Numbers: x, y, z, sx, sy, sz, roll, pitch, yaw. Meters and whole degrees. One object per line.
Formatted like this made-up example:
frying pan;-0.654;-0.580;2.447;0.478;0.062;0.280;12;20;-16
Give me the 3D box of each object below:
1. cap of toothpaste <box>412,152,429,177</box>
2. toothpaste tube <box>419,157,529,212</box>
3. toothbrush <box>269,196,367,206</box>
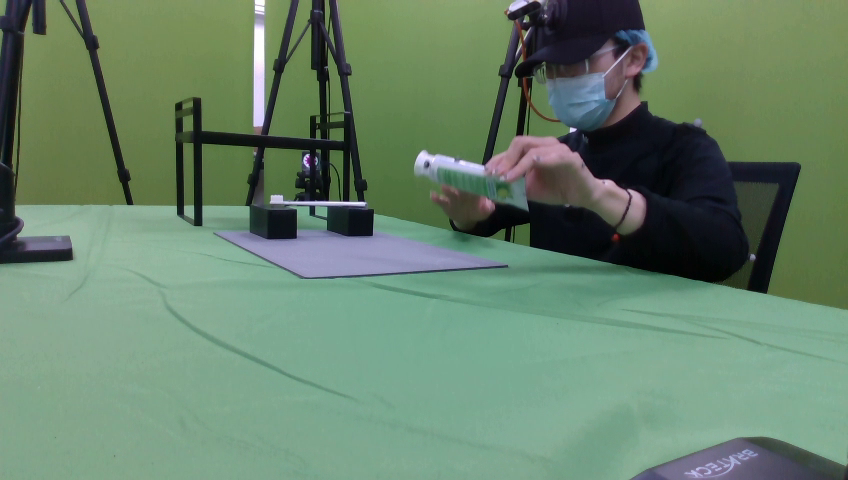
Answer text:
cap of toothpaste;-0.003;-0.102;0.822;0.011;0.037;0.037;22;15;21
toothpaste tube;0.061;-0.078;0.776;0.164;0.034;0.055;21;-28;32
toothbrush;-0.187;-0.069;1.088;0.183;0.016;0.014;0;-4;-28
